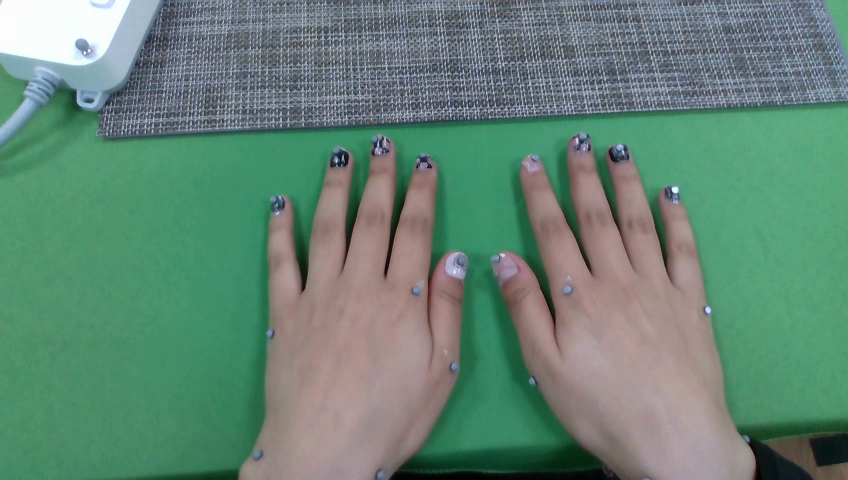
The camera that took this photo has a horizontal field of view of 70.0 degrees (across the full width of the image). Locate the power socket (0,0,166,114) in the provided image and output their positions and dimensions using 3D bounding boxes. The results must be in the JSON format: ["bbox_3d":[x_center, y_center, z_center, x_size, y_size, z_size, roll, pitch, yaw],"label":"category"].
[{"bbox_3d":[-0.188,-0.184,0.374,0.072,0.033,0.225,11,69,3],"label":"power socket"}]
